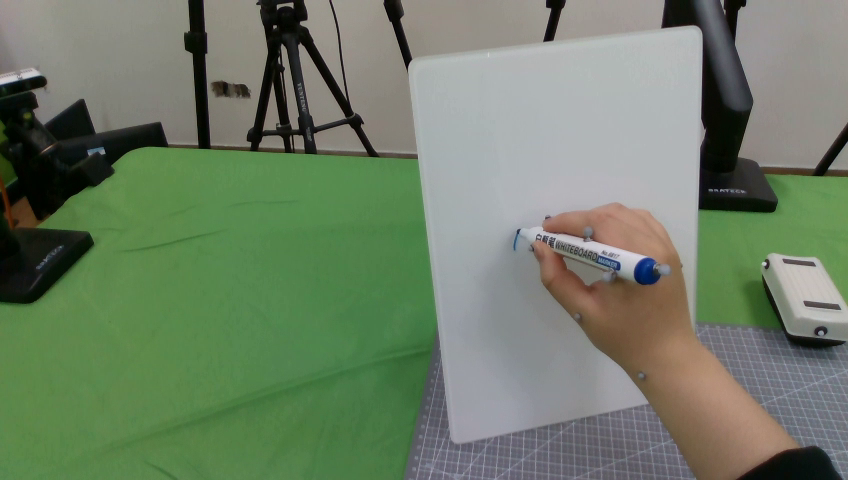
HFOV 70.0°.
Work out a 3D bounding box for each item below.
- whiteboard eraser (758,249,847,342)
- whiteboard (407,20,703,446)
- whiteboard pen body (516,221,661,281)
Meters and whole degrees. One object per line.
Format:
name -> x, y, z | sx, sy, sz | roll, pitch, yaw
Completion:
whiteboard eraser -> 0.369, 0.053, 0.590 | 0.055, 0.042, 0.112 | 3, 33, 12
whiteboard -> 0.099, -0.014, 0.523 | 0.217, 0.307, 0.143 | -9, 18, -8
whiteboard pen body -> 0.096, 0.002, 0.385 | 0.017, 0.017, 0.139 | -17, 17, -19
